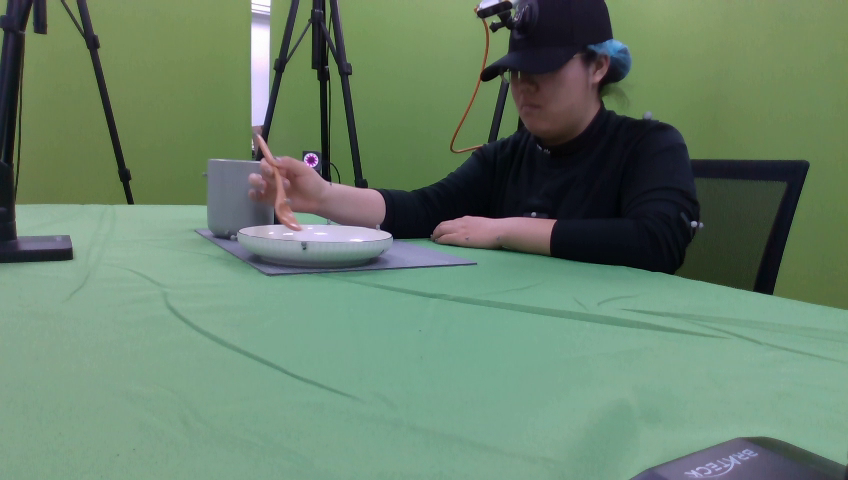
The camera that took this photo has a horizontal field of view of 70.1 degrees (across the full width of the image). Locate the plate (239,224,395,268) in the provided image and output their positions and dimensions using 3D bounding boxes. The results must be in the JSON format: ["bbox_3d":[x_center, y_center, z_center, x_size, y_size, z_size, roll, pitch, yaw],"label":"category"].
[{"bbox_3d":[-0.144,0.007,0.823,0.208,0.039,0.207,3,7,0],"label":"plate"}]

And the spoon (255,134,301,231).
[{"bbox_3d":[-0.215,-0.087,0.879,0.021,0.193,0.042,-34,-31,19],"label":"spoon"}]

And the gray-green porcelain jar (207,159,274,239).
[{"bbox_3d":[-0.304,-0.068,1.003,0.106,0.126,0.106,3,7,0],"label":"gray-green porcelain jar"}]
